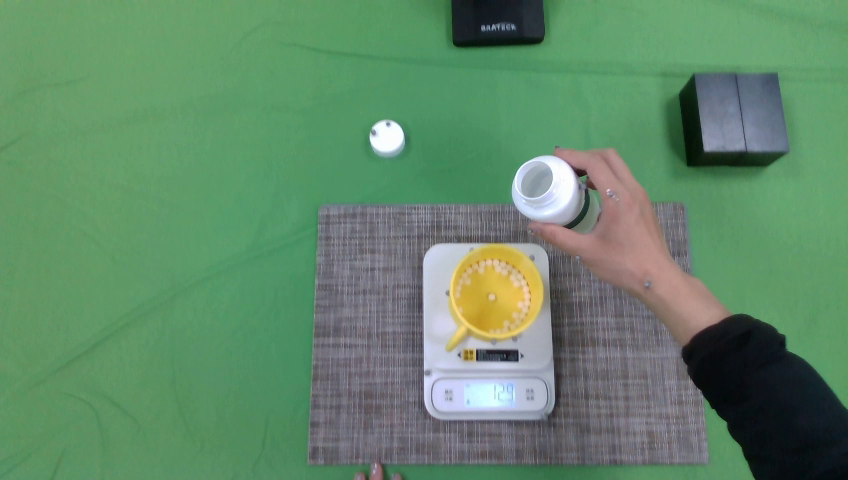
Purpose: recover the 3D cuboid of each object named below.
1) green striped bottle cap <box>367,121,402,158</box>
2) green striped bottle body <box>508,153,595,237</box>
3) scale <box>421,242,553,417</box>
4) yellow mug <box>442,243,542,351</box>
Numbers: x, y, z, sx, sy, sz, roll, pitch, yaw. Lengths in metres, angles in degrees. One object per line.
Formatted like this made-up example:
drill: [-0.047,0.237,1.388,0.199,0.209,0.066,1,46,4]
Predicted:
green striped bottle cap: [-0.050,-0.128,0.767,0.044,0.020,0.044,0,80,1]
green striped bottle body: [0.124,-0.045,0.597,0.063,0.120,0.063,-7,74,28]
scale: [0.072,0.100,0.700,0.148,0.032,0.200,-1,78,1]
yellow mug: [0.064,0.070,0.658,0.099,0.064,0.130,39,82,9]
